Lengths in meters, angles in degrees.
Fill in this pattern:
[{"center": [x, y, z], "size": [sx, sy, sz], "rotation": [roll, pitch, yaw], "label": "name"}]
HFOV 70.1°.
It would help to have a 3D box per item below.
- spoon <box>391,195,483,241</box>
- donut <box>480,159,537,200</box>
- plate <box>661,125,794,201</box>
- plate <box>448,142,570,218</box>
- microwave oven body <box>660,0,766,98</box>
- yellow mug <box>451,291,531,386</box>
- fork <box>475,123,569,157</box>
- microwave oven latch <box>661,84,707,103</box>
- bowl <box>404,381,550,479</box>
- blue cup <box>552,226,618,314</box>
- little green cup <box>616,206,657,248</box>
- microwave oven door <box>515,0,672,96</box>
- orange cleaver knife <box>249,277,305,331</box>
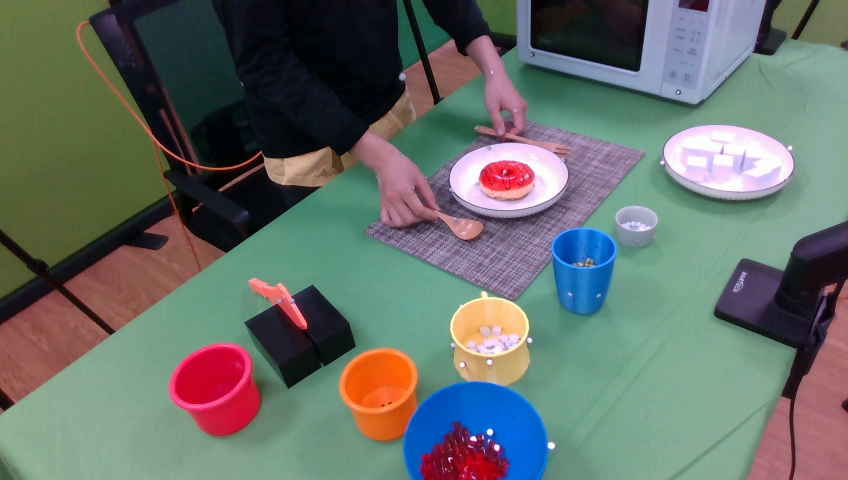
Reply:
[{"center": [0.018, -0.044, 1.012], "size": [0.192, 0.022, 0.041], "rotation": [27, 72, 29], "label": "spoon"}, {"center": [0.145, -0.106, 1.042], "size": [0.099, 0.048, 0.098], "rotation": [-4, 38, 4], "label": "donut"}, {"center": [0.513, -0.128, 1.035], "size": [0.207, 0.039, 0.206], "rotation": [-4, 40, 4], "label": "plate"}, {"center": [0.148, -0.101, 1.053], "size": [0.209, 0.038, 0.208], "rotation": [-4, 40, 4], "label": "plate"}, {"center": [0.473, -0.514, 1.317], "size": [0.438, 0.261, 0.327], "rotation": [26, 51, 34], "label": "microwave oven body"}, {"center": [0.085, 0.120, 0.786], "size": [0.100, 0.064, 0.130], "rotation": [-7, 39, 1], "label": "yellow mug"}, {"center": [0.184, -0.195, 1.157], "size": [0.206, 0.028, 0.019], "rotation": [21, 41, 27], "label": "fork"}, {"center": [0.517, -0.296, 1.204], "size": [0.078, 0.029, 0.030], "rotation": [27, 52, 34], "label": "microwave oven latch"}, {"center": [0.058, 0.235, 0.645], "size": [0.151, 0.077, 0.150], "rotation": [-4, 39, 4], "label": "bowl"}, {"center": [0.218, 0.047, 0.826], "size": [0.092, 0.101, 0.092], "rotation": [-6, 40, 5], "label": "blue cup"}, {"center": [0.327, -0.019, 0.935], "size": [0.061, 0.039, 0.061], "rotation": [-4, 40, 4], "label": "little green cup"}, {"center": [0.344, -0.455, 1.260], "size": [0.353, 0.245, 0.039], "rotation": [26, 51, 33], "label": "microwave oven door"}, {"center": [-0.210, 0.088, 0.856], "size": [0.012, 0.077, 0.210], "rotation": [-28, 15, -25], "label": "orange cleaver knife"}]
